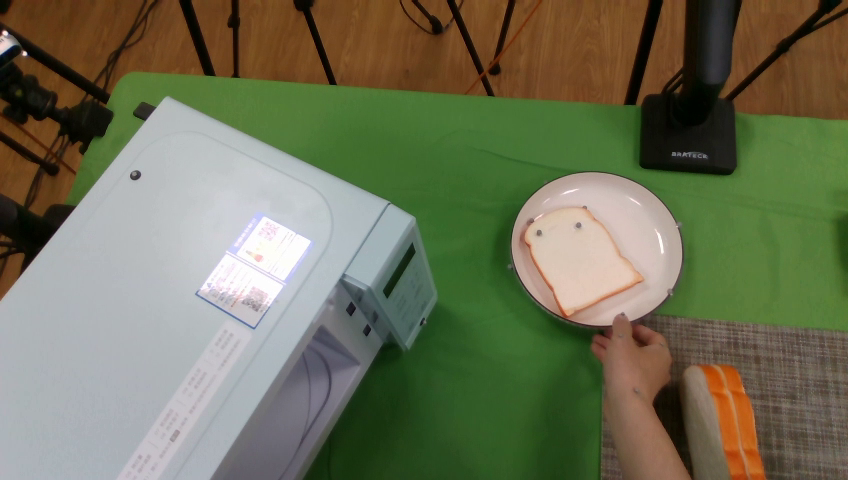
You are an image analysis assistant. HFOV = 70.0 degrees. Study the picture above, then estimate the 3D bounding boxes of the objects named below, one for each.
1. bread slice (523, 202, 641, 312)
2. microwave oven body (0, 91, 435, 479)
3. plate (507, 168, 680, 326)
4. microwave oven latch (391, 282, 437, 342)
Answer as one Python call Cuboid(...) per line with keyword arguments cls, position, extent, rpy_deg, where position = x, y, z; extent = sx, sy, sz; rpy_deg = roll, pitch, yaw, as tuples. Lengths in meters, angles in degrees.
Cuboid(cls="bread slice", position=(0.185, 0.016, 0.756), extent=(0.107, 0.018, 0.133), rpy_deg=(-27, 66, -9))
Cuboid(cls="microwave oven body", position=(-0.239, 0.128, 0.635), extent=(0.324, 0.262, 0.440), rpy_deg=(26, 74, 16))
Cuboid(cls="plate", position=(0.208, 0.010, 0.758), extent=(0.207, 0.039, 0.206), rpy_deg=(-2, 68, 5))
Cuboid(cls="microwave oven latch", position=(-0.013, 0.082, 0.733), extent=(0.030, 0.030, 0.079), rpy_deg=(28, 74, 16))
